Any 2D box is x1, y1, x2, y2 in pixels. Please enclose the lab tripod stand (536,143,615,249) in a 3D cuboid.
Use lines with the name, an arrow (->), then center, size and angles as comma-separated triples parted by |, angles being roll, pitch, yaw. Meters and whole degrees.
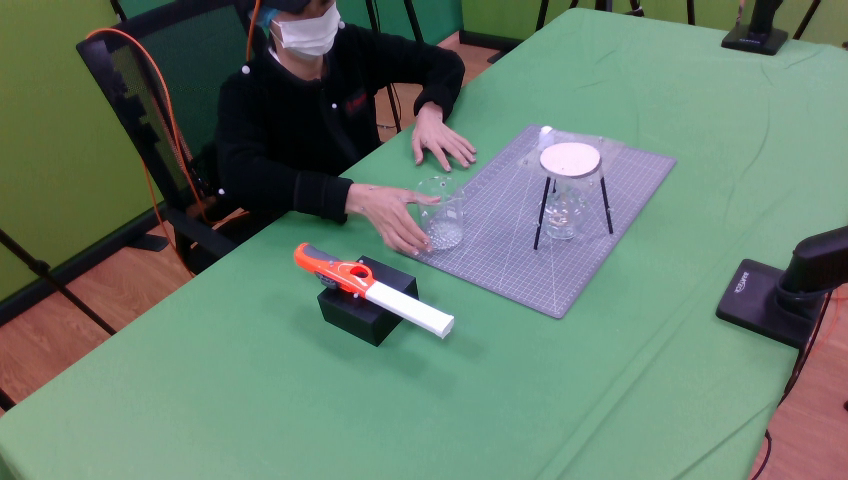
lab tripod stand -> 0.224, -0.069, 0.931 | 0.148, 0.132, 0.147 | -4, 42, 4

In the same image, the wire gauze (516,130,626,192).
wire gauze -> 0.216, -0.124, 0.892 | 0.124, 0.011, 0.122 | 22, 49, 31

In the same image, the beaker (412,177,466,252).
beaker -> 0.029, -0.038, 0.952 | 0.083, 0.101, 0.074 | 9, 43, 18

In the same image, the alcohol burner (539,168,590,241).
alcohol burner -> 0.217, -0.059, 0.935 | 0.078, 0.119, 0.077 | -6, 40, 6

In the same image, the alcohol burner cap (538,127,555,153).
alcohol burner cap -> 0.234, -0.191, 1.147 | 0.034, 0.048, 0.033 | -5, 40, 5

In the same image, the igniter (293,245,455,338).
igniter -> -0.079, 0.065, 0.833 | 0.274, 0.025, 0.057 | 23, 48, 27
